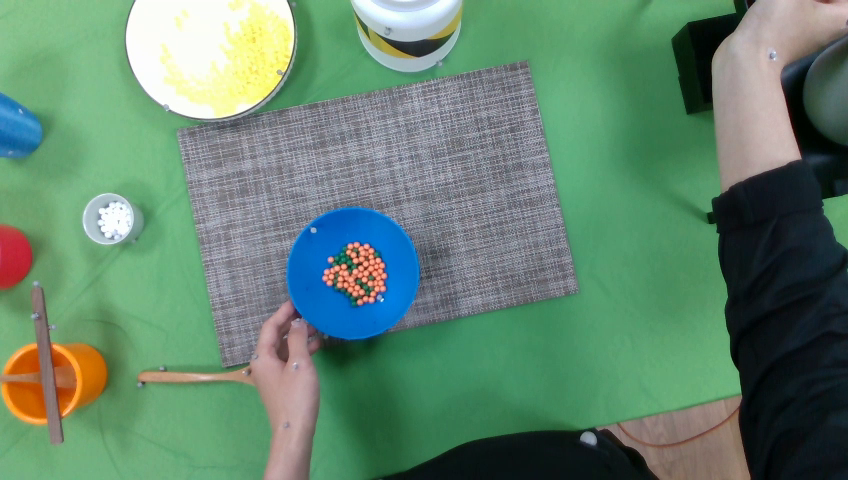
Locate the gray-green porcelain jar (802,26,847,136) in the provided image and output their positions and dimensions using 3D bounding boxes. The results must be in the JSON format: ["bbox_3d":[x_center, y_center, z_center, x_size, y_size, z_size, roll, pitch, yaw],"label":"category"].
[{"bbox_3d":[0.411,-0.151,0.529,0.106,0.126,0.105,0,87,0],"label":"gray-green porcelain jar"}]

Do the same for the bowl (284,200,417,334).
[{"bbox_3d":[-0.082,0.031,0.716,0.151,0.077,0.151,0,89,0],"label":"bowl"}]

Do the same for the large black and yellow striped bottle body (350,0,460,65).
[{"bbox_3d":[-0.022,-0.289,0.680,0.131,0.184,0.130,0,87,0],"label":"large black and yellow striped bottle body"}]

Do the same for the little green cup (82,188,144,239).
[{"bbox_3d":[-0.375,-0.030,0.737,0.061,0.038,0.061,0,88,0],"label":"little green cup"}]

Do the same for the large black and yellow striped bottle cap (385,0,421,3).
[{"bbox_3d":[-0.021,-0.293,0.596,0.115,0.019,0.115,0,88,1],"label":"large black and yellow striped bottle cap"}]

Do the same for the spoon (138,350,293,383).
[{"bbox_3d":[-0.255,0.156,0.739,0.194,0.021,0.042,-1,102,-1],"label":"spoon"}]

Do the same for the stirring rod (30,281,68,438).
[{"bbox_3d":[-0.417,0.132,0.673,0.014,0.006,0.176,-11,88,0],"label":"stirring rod"}]

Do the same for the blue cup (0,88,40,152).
[{"bbox_3d":[-0.510,-0.143,0.708,0.092,0.100,0.092,0,88,1],"label":"blue cup"}]

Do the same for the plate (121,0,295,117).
[{"bbox_3d":[-0.262,-0.252,0.748,0.209,0.038,0.209,0,88,-1],"label":"plate"}]

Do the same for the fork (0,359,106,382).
[{"bbox_3d":[-0.469,0.147,0.674,0.209,0.018,0.028,11,88,-43],"label":"fork"}]
